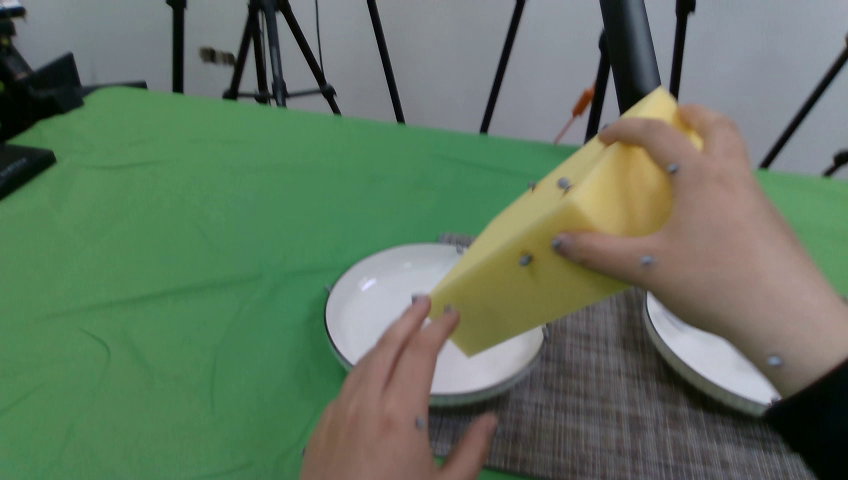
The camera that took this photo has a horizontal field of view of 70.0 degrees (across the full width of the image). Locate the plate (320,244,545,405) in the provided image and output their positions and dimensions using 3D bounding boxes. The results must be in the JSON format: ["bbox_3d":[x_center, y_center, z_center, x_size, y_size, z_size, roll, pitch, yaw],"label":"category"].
[{"bbox_3d":[0.008,0.078,0.573,0.209,0.038,0.207,3,35,-1],"label":"plate"}]

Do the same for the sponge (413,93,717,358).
[{"bbox_3d":[0.086,0.002,0.426,0.061,0.207,0.118,45,57,-2],"label":"sponge"}]

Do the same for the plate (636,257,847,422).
[{"bbox_3d":[0.306,0.093,0.579,0.208,0.039,0.205,3,36,-1],"label":"plate"}]
